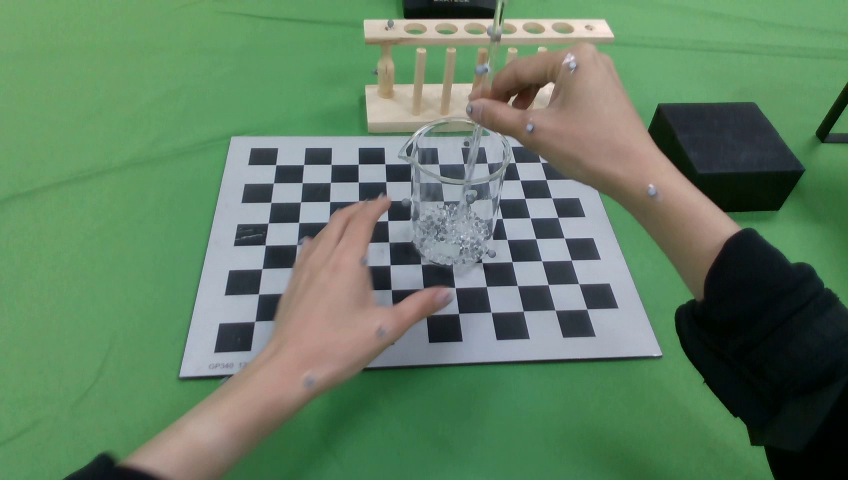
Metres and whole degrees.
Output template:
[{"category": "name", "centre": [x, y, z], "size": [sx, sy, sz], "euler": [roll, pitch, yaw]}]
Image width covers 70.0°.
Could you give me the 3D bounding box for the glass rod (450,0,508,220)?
[{"category": "glass rod", "centre": [0.034, -0.075, 0.417], "size": [0.008, 0.201, 0.008], "euler": [3, 55, -5]}]

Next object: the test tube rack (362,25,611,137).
[{"category": "test tube rack", "centre": [0.061, -0.160, 0.609], "size": [0.243, 0.086, 0.066], "euler": [-3, 47, -7]}]

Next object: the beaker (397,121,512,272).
[{"category": "beaker", "centre": [0.021, -0.030, 0.471], "size": [0.084, 0.101, 0.073], "euler": [-2, 47, -4]}]
